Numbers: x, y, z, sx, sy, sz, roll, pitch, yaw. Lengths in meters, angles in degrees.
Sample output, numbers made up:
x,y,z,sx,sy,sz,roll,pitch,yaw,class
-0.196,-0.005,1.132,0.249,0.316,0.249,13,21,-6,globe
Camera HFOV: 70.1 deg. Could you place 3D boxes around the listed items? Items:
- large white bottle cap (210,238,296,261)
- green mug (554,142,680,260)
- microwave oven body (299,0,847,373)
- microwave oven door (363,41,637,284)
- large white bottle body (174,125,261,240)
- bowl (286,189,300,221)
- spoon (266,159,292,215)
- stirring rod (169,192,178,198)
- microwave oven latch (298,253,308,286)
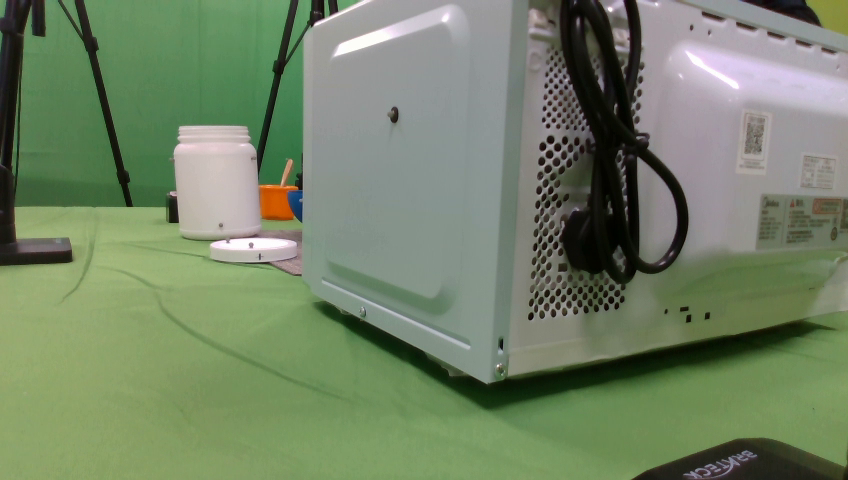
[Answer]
x,y,z,sx,sy,sz,roll,pitch,yaw,class
-0.236,0.012,0.839,0.115,0.018,0.115,2,7,0,large white bottle cap
0.181,-0.037,0.584,0.124,0.105,0.093,4,5,45,green mug
0.152,-0.055,0.542,0.444,0.260,0.324,-2,7,-33,microwave oven body
0.104,-0.081,0.695,0.358,0.243,0.039,-2,9,-29,microwave oven door
-0.349,-0.100,1.025,0.131,0.184,0.130,-1,9,0,large white bottle body
-0.179,-0.051,1.115,0.151,0.077,0.151,3,8,0,bowl
-0.334,-0.127,1.423,0.041,0.193,0.022,0,-37,7,spoon
-0.465,-0.098,1.283,0.014,0.006,0.177,42,22,17,stirring rod
-0.081,0.027,0.582,0.079,0.029,0.030,-1,7,-32,microwave oven latch
